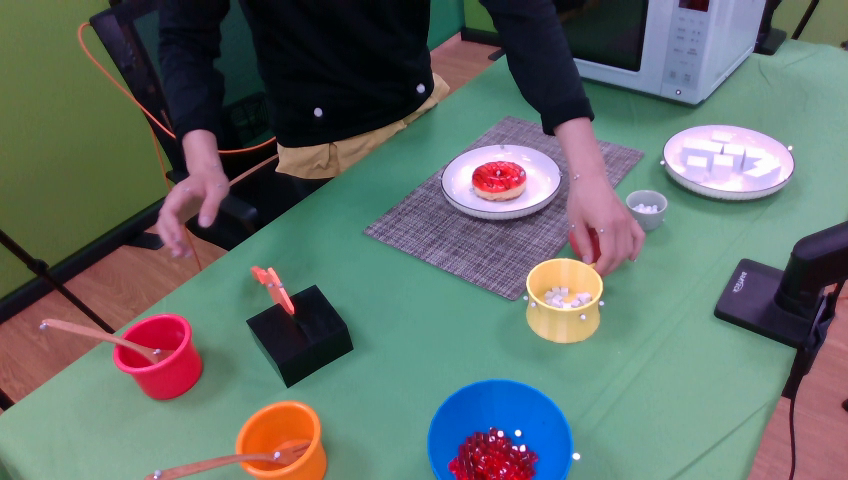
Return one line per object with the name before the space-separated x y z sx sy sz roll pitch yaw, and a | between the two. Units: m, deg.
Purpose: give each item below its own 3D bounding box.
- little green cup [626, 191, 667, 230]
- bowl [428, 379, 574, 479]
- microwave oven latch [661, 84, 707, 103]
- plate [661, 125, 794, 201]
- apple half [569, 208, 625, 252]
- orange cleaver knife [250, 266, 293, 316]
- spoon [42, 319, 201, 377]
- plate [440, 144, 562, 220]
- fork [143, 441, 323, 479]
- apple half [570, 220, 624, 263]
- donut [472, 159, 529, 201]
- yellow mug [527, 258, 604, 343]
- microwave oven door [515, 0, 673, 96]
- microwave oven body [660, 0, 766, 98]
little green cup | 0.352 -0.046 0.963 0.061 0.039 0.061 -4 40 4
bowl | 0.082 0.233 0.644 0.151 0.077 0.150 -4 39 4
microwave oven latch | 0.516 -0.296 1.204 0.078 0.029 0.030 25 50 33
plate | 0.513 -0.128 1.035 0.207 0.039 0.206 -4 40 4
apple half | 0.263 -0.014 0.913 0.080 0.075 0.053 6 38 19
orange cleaver knife | -0.221 0.071 0.873 0.012 0.077 0.210 -26 11 -21
spoon | -0.385 0.135 0.779 0.195 0.021 0.041 29 37 -26
plate | 0.134 -0.098 1.051 0.209 0.038 0.208 -4 40 4
fork | -0.189 0.231 0.631 0.028 0.018 0.209 35 13 37
apple half | 0.251 0.010 0.885 0.081 0.081 0.033 7 39 17
donut | 0.132 -0.105 1.043 0.099 0.048 0.098 -5 38 4
yellow mug | 0.202 0.073 0.825 0.131 0.064 0.099 -32 46 -27
microwave oven door | 0.344 -0.455 1.259 0.353 0.245 0.039 26 51 33
microwave oven body | 0.473 -0.513 1.317 0.438 0.261 0.327 26 51 34
